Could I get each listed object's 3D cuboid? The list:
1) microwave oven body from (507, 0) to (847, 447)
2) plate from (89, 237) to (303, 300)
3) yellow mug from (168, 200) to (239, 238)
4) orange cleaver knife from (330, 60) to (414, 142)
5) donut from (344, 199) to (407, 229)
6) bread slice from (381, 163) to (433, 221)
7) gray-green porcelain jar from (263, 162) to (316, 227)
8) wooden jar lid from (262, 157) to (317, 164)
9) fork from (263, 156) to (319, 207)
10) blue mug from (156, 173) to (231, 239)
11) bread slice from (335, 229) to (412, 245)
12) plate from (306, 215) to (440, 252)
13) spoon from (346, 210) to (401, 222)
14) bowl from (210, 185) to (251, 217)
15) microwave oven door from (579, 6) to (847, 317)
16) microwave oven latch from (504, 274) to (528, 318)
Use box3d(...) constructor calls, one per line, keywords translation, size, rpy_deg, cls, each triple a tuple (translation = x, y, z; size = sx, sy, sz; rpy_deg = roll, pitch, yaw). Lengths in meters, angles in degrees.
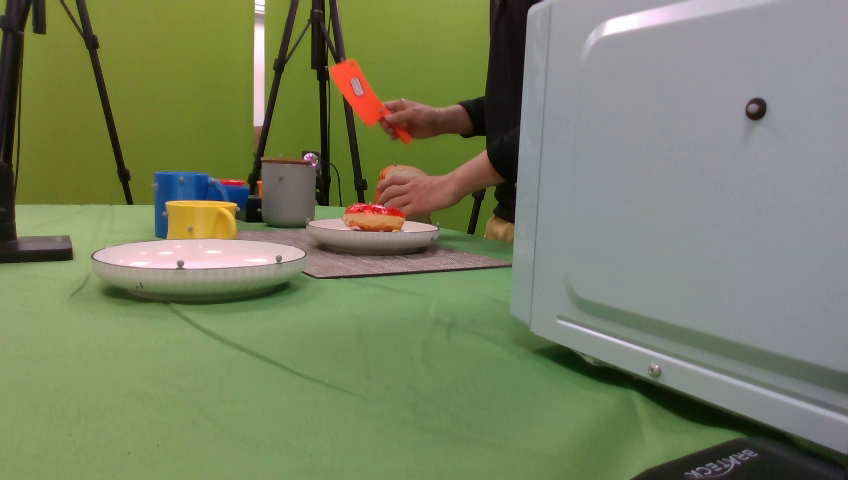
box3d(translation=(0.331, -0.042, 0.425), size=(0.444, 0.260, 0.324), rpy_deg=(-2, 8, -31), cls="microwave oven body")
box3d(translation=(-0.233, 0.029, 0.637), size=(0.208, 0.039, 0.207), rpy_deg=(2, 7, 0), cls="plate")
box3d(translation=(-0.319, -0.023, 0.904), size=(0.130, 0.064, 0.100), rpy_deg=(9, 11, 36), cls="yellow mug")
box3d(translation=(-0.100, -0.261, 1.187), size=(0.012, 0.212, 0.077), rpy_deg=(-11, 40, 50), cls="orange cleaver knife")
box3d(translation=(-0.076, -0.039, 0.949), size=(0.099, 0.048, 0.099), rpy_deg=(2, 4, 0), cls="donut")
box3d(translation=(-0.034, -0.076, 1.123), size=(0.107, 0.134, 0.018), rpy_deg=(-3, 1, -26), cls="bread slice")
box3d(translation=(-0.271, -0.092, 1.217), size=(0.106, 0.126, 0.106), rpy_deg=(2, 7, 0), cls="gray-green porcelain jar")
box3d(translation=(-0.269, -0.154, 1.208), size=(0.108, 0.020, 0.108), rpy_deg=(3, 4, 0), cls="wooden jar lid")
box3d(translation=(-0.331, -0.144, 1.505), size=(0.207, 0.018, 0.028), rpy_deg=(-42, -20, 22), cls="fork")
box3d(translation=(-0.381, -0.057, 1.004), size=(0.117, 0.106, 0.082), rpy_deg=(0, 8, -12), cls="blue mug")
box3d(translation=(-0.074, -0.006, 0.938), size=(0.105, 0.019, 0.131), rpy_deg=(-2, 4, -19), cls="bread slice")
box3d(translation=(-0.079, -0.011, 0.950), size=(0.209, 0.038, 0.209), rpy_deg=(2, 8, 0), cls="plate")
box3d(translation=(-0.121, -0.060, 1.400), size=(0.042, 0.021, 0.192), rpy_deg=(-28, 25, -37), cls="spoon")
box3d(translation=(-0.408, -0.064, 1.155), size=(0.151, 0.077, 0.151), rpy_deg=(2, 8, 0), cls="bowl")
box3d(translation=(0.294, -0.067, 0.570), size=(0.358, 0.243, 0.039), rpy_deg=(-3, 9, -31), cls="microwave oven door")
box3d(translation=(0.100, 0.041, 0.471), size=(0.079, 0.029, 0.030), rpy_deg=(-1, 8, -28), cls="microwave oven latch")
